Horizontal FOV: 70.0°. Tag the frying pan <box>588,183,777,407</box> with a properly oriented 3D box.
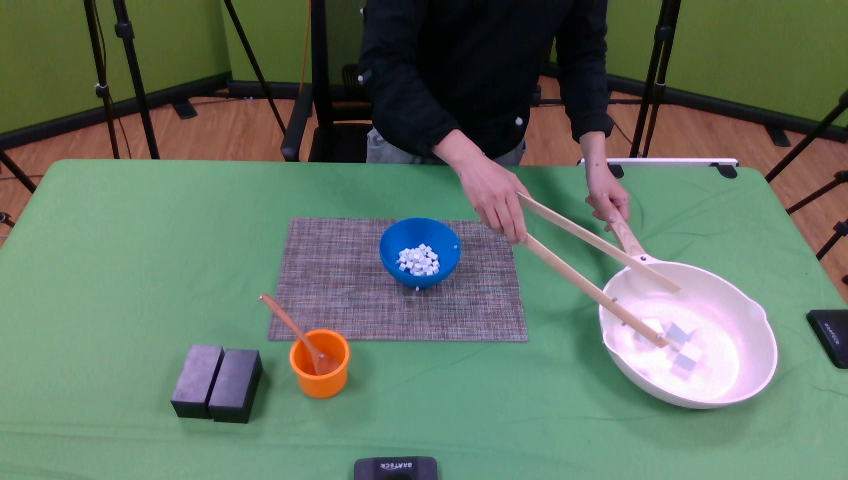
[{"bbox_3d":[0.412,0.079,1.097,0.307,0.103,0.484,-9,56,-14],"label":"frying pan"}]

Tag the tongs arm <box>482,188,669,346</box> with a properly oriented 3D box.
[{"bbox_3d":[0.253,0.046,1.014,0.385,0.026,0.050,36,54,-2],"label":"tongs arm"}]

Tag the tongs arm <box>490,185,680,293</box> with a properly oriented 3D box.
[{"bbox_3d":[0.281,0.000,1.055,0.388,0.028,0.028,28,58,-7],"label":"tongs arm"}]

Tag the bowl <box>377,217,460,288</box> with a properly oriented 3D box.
[{"bbox_3d":[-0.011,0.036,1.118,0.151,0.077,0.150,2,46,-2],"label":"bowl"}]

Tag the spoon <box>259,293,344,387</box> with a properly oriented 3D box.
[{"bbox_3d":[-0.191,0.155,0.947,0.021,0.194,0.041,-13,27,50],"label":"spoon"}]
